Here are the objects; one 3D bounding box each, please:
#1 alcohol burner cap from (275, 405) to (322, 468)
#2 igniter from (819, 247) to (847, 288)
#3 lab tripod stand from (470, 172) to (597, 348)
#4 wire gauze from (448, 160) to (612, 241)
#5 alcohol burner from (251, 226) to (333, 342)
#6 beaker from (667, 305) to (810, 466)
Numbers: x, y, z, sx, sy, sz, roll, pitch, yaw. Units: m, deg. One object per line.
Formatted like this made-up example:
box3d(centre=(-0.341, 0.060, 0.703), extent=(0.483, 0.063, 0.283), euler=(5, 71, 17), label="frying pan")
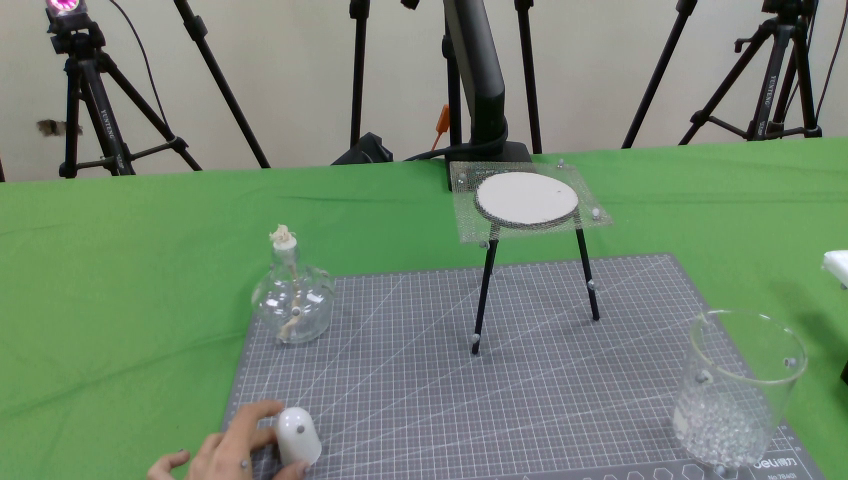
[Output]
box3d(centre=(-0.097, 0.146, 0.461), extent=(0.034, 0.048, 0.033), euler=(-2, 35, 2), label="alcohol burner cap")
box3d(centre=(0.387, 0.084, 0.451), extent=(0.057, 0.025, 0.274), euler=(-4, 31, 1), label="igniter")
box3d(centre=(0.092, 0.014, 0.558), extent=(0.148, 0.132, 0.147), euler=(-1, 33, 1), label="lab tripod stand")
box3d(centre=(0.084, -0.040, 0.517), extent=(0.121, 0.011, 0.124), euler=(-3, 35, -2), label="wire gauze")
box3d(centre=(-0.124, 0.036, 0.560), extent=(0.078, 0.120, 0.077), euler=(-1, 36, 1), label="alcohol burner")
box3d(centre=(0.221, 0.107, 0.443), extent=(0.074, 0.101, 0.083), euler=(-14, 35, -15), label="beaker")
